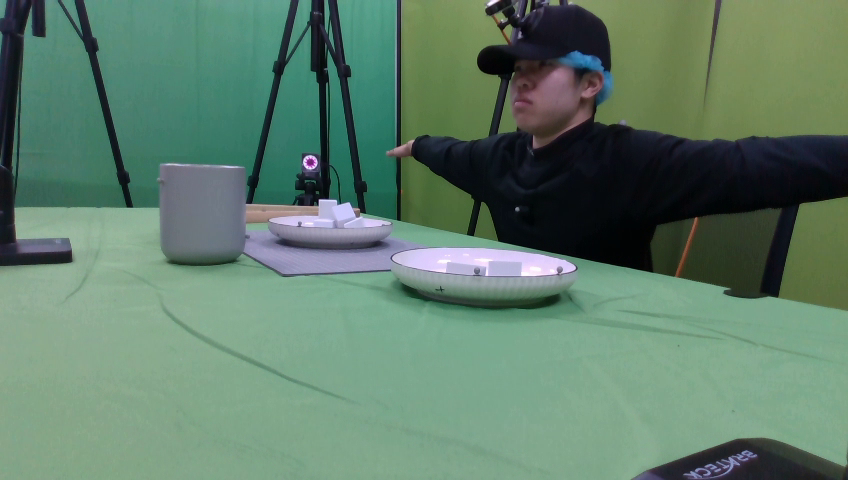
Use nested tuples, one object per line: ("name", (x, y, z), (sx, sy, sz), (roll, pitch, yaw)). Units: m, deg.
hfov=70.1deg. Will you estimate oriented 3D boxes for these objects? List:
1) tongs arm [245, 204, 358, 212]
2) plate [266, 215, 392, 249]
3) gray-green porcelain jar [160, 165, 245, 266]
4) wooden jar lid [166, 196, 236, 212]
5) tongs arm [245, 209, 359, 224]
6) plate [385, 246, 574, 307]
("tongs arm", (-0.342, -0.068, 1.409), (0.387, 0.026, 0.050), (0, 9, -27))
("plate", (-0.159, -0.015, 1.019), (0.209, 0.038, 0.209), (3, 7, 0))
("gray-green porcelain jar", (-0.291, -0.034, 0.799), (0.106, 0.126, 0.106), (2, 8, 0))
("wooden jar lid", (-0.369, -0.059, 1.001), (0.108, 0.020, 0.108), (3, 6, 0))
("tongs arm", (-0.300, -0.052, 1.341), (0.390, 0.028, 0.028), (-3, 8, -40))
("plate", (0.060, 0.041, 0.678), (0.208, 0.039, 0.207), (3, 7, 0))
